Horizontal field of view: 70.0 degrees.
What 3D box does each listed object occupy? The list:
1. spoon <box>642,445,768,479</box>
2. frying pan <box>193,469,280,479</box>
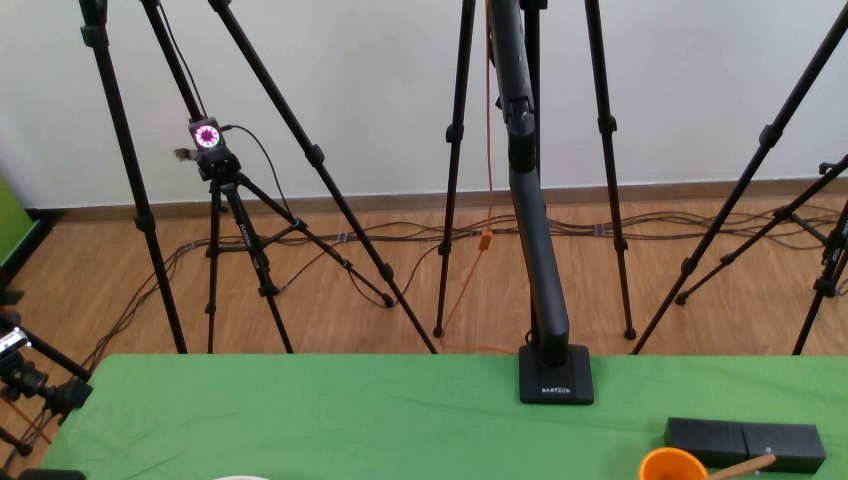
[{"bbox_3d":[0.364,0.311,0.804,0.022,0.194,0.041,27,40,-26],"label":"spoon"},{"bbox_3d":[-0.289,0.519,0.729,0.306,0.103,0.483,-2,35,8],"label":"frying pan"}]
